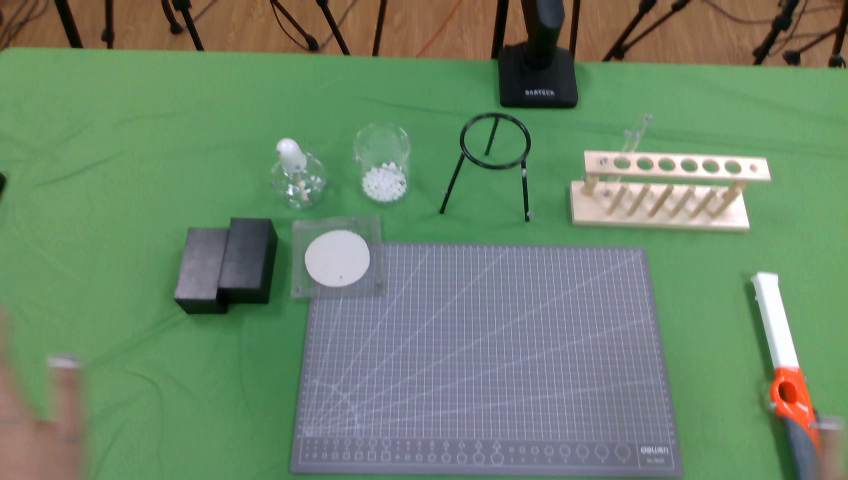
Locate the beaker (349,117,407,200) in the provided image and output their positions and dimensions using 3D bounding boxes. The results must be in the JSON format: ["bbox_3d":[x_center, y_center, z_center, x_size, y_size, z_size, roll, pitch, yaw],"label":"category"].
[{"bbox_3d":[-0.058,-0.105,0.828,0.074,0.101,0.083,-27,67,-14],"label":"beaker"}]

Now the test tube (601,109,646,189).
[{"bbox_3d":[0.259,-0.115,0.793,0.017,0.151,0.017,1,59,-1],"label":"test tube"}]

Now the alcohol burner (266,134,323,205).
[{"bbox_3d":[-0.176,-0.099,0.813,0.078,0.120,0.077,1,61,-1],"label":"alcohol burner"}]

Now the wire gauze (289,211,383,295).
[{"bbox_3d":[-0.120,0.017,0.811,0.125,0.011,0.120,-4,62,-3],"label":"wire gauze"}]

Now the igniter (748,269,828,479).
[{"bbox_3d":[0.444,0.164,0.744,0.057,0.025,0.274,7,62,-10],"label":"igniter"}]

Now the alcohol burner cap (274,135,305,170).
[{"bbox_3d":[-0.175,-0.115,0.780,0.034,0.048,0.033,-2,67,4],"label":"alcohol burner cap"}]

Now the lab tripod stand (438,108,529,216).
[{"bbox_3d":[0.084,-0.104,0.812,0.148,0.132,0.147,0,61,1],"label":"lab tripod stand"}]

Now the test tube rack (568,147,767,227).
[{"bbox_3d":[0.329,-0.071,0.829,0.242,0.086,0.066,2,63,0],"label":"test tube rack"}]
